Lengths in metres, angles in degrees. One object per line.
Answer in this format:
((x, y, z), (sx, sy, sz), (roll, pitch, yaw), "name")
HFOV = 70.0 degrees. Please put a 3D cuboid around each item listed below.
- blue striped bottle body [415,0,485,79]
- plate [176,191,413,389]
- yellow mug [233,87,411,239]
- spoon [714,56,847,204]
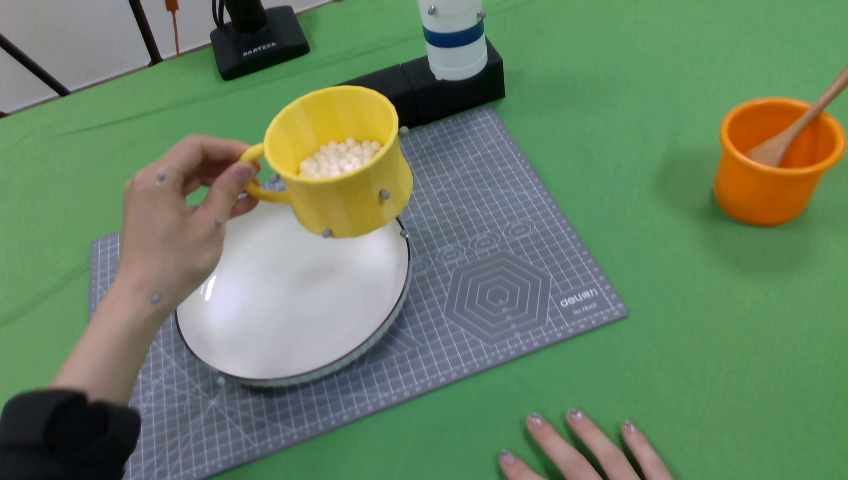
((0.025, -0.227, 0.600), (0.063, 0.122, 0.062), (-6, 51, 8), "blue striped bottle body")
((-0.109, 0.038, 0.534), (0.207, 0.039, 0.205), (-5, 51, 7), "plate")
((-0.080, -0.055, 0.459), (0.131, 0.064, 0.099), (-11, 52, 2), "yellow mug")
((0.310, -0.108, 0.489), (0.194, 0.022, 0.041), (-52, 46, 22), "spoon")
